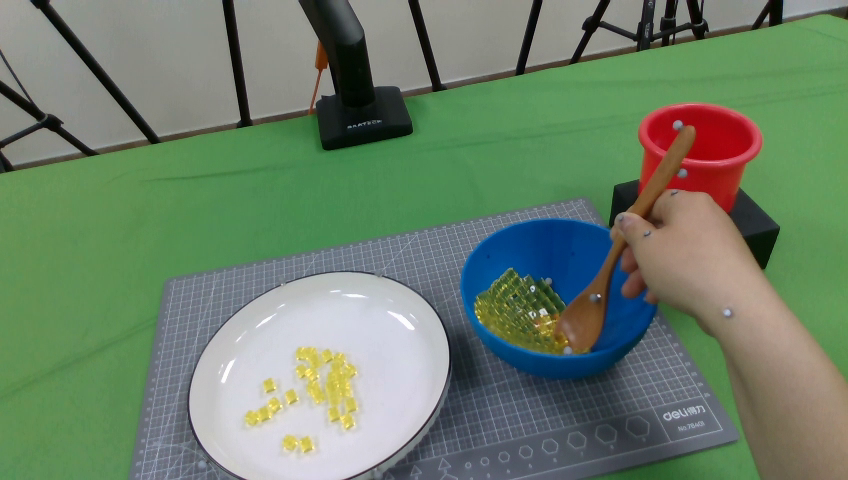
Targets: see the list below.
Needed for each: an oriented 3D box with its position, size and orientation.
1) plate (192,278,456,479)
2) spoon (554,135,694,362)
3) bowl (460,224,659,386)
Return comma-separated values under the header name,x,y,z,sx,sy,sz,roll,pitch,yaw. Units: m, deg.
name,x,y,z,sx,sy,sz,roll,pitch,yaw
plate,-0.077,0.115,0.490,0.207,0.039,0.205,-4,41,4
spoon,0.144,0.013,0.443,0.022,0.194,0.041,5,30,-26
bowl,0.106,0.064,0.490,0.151,0.077,0.150,-4,41,4
